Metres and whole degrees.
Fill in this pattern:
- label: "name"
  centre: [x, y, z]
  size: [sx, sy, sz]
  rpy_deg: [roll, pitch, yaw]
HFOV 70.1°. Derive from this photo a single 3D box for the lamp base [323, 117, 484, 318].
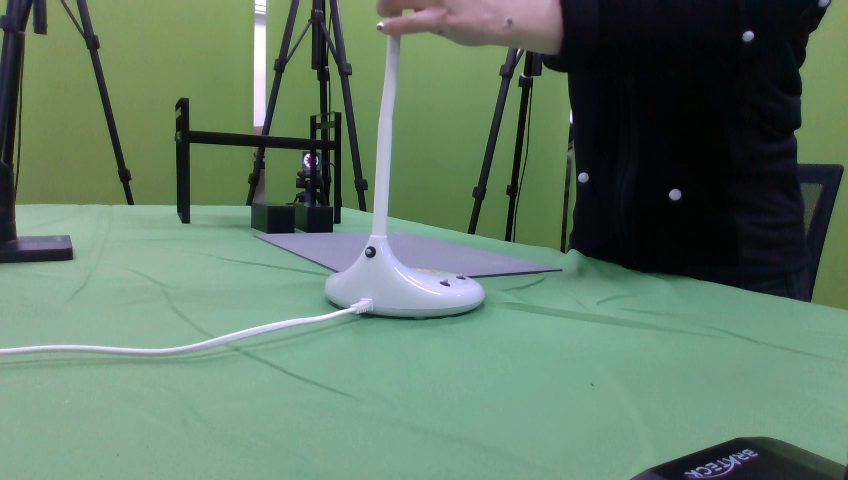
- label: "lamp base"
  centre: [-0.021, -0.025, 0.582]
  size: [0.160, 0.180, 0.179]
  rpy_deg: [5, 10, 16]
